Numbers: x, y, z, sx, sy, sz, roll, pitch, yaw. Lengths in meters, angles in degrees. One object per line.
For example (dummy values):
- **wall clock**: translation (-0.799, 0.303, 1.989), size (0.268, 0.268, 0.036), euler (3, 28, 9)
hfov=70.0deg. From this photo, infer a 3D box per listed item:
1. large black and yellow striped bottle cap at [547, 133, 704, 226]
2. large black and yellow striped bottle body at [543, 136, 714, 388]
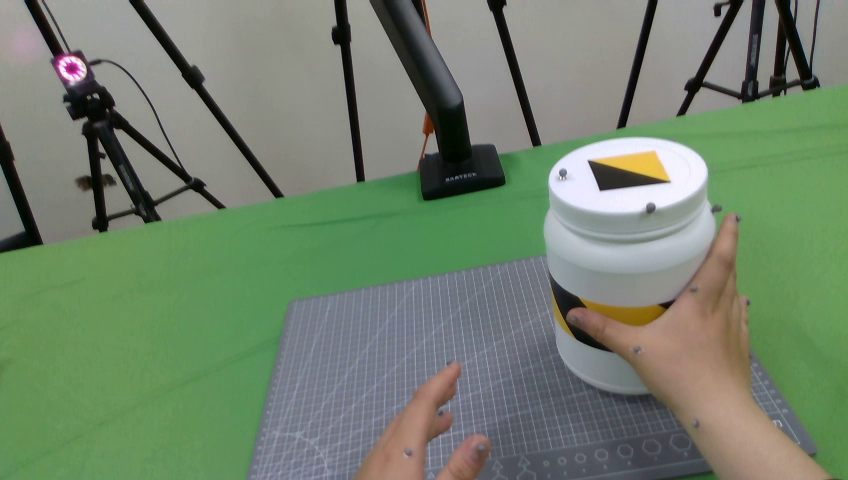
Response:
- **large black and yellow striped bottle cap**: translation (0.151, -0.050, 0.462), size (0.115, 0.019, 0.114), euler (-8, 34, 6)
- **large black and yellow striped bottle body**: translation (0.170, 0.018, 0.510), size (0.130, 0.186, 0.129), euler (-10, 35, 7)
